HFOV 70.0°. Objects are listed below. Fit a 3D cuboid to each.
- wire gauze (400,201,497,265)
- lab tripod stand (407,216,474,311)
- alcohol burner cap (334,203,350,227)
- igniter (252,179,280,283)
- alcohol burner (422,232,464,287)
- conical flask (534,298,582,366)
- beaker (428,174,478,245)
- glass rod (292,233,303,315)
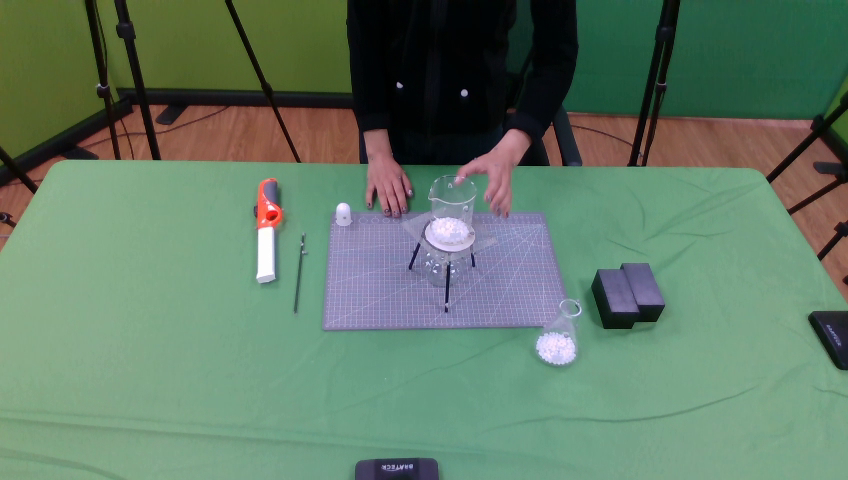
[{"bbox_3d":[0.042,-0.013,1.043,0.125,0.011,0.120,-24,49,-24],"label":"wire gauze"},{"bbox_3d":[0.039,0.030,1.093,0.148,0.132,0.147,2,44,-2],"label":"lab tripod stand"},{"bbox_3d":[-0.166,-0.053,1.220,0.034,0.048,0.033,2,46,-2],"label":"alcohol burner cap"},{"bbox_3d":[-0.313,-0.027,1.197,0.057,0.025,0.274,-12,47,-1],"label":"igniter"},{"bbox_3d":[0.035,0.030,1.107,0.078,0.120,0.077,1,47,-1],"label":"alcohol burner"},{"bbox_3d":[0.229,0.149,1.005,0.075,0.122,0.075,2,46,-2],"label":"conical flask"},{"bbox_3d":[0.043,-0.047,1.009,0.084,0.101,0.073,-16,48,-19],"label":"beaker"},{"bbox_3d":[-0.236,0.059,1.134,0.008,0.008,0.198,-1,46,-4],"label":"glass rod"}]
